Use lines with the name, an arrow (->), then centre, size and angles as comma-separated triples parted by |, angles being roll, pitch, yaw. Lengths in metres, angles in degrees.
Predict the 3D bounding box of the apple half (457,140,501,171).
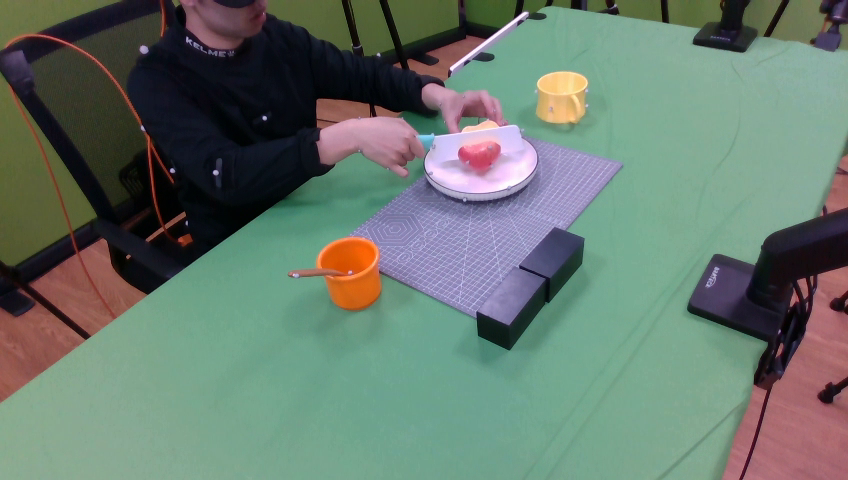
apple half -> 0.099, -0.138, 1.049 | 0.081, 0.081, 0.032 | -6, 65, 2

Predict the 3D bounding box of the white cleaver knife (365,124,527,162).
white cleaver knife -> 0.033, -0.161, 1.056 | 0.286, 0.066, 0.021 | -4, 46, 12

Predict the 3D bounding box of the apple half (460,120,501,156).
apple half -> 0.108, -0.174, 1.103 | 0.080, 0.053, 0.074 | -19, 82, 11

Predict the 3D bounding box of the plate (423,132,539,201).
plate -> 0.102, -0.132, 1.093 | 0.209, 0.038, 0.208 | -4, 40, 4

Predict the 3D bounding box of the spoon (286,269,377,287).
spoon -> -0.125, 0.049, 0.831 | 0.041, 0.195, 0.021 | 21, 92, 28

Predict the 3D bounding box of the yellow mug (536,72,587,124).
yellow mug -> 0.284, -0.281, 1.222 | 0.100, 0.064, 0.130 | -16, 42, -9
